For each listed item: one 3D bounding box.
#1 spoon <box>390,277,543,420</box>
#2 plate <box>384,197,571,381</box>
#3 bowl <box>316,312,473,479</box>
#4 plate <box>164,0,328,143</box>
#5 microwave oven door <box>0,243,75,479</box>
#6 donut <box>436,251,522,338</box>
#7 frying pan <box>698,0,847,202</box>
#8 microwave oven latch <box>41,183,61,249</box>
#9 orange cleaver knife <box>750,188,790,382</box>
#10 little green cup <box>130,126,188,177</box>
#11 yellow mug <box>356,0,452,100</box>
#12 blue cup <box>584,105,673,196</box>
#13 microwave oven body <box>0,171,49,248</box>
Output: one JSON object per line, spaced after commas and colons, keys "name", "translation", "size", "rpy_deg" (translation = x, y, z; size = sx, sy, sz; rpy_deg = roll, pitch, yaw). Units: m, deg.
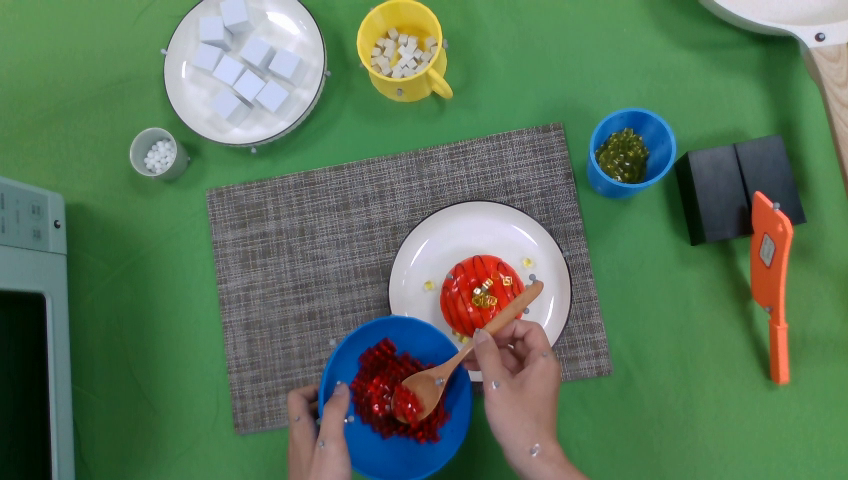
{"name": "spoon", "translation": [0.040, 0.102, 0.569], "size": [0.194, 0.022, 0.041], "rpy_deg": [-45, 69, 17]}
{"name": "plate", "translation": [0.060, 0.055, 0.695], "size": [0.209, 0.038, 0.208], "rpy_deg": [-1, 84, 6]}
{"name": "bowl", "translation": [-0.038, 0.150, 0.589], "size": [0.152, 0.077, 0.150], "rpy_deg": [7, 73, -22]}
{"name": "plate", "translation": [-0.219, -0.220, 0.761], "size": [0.207, 0.039, 0.207], "rpy_deg": [-1, 84, 6]}
{"name": "microwave oven door", "translation": [-0.457, 0.176, 0.621], "size": [0.039, 0.244, 0.354], "rpy_deg": [-7, 83, 6]}
{"name": "donut", "translation": [0.063, 0.062, 0.683], "size": [0.099, 0.048, 0.099], "rpy_deg": [0, 87, 7]}
{"name": "frying pan", "translation": [0.421, -0.267, 0.662], "size": [0.306, 0.103, 0.485], "rpy_deg": [-5, 75, 7]}
{"name": "microwave oven latch", "translation": [-0.468, -0.029, 0.747], "size": [0.030, 0.029, 0.079], "rpy_deg": [-4, 84, 5]}
{"name": "orange cleaver knife", "translation": [0.365, 0.050, 0.644], "size": [0.012, 0.076, 0.213], "rpy_deg": [-11, 111, 5]}
{"name": "little green cup", "translation": [-0.329, -0.108, 0.758], "size": [0.061, 0.039, 0.061], "rpy_deg": [-1, 84, 6]}
{"name": "yellow mug", "translation": [-0.015, -0.217, 0.724], "size": [0.130, 0.064, 0.100], "rpy_deg": [43, 89, 8]}
{"name": "blue cup", "translation": [0.215, -0.089, 0.666], "size": [0.092, 0.100, 0.092], "rpy_deg": [-1, 82, 5]}
{"name": "microwave oven body", "translation": [-0.606, 0.152, 0.645], "size": [0.326, 0.261, 0.440], "rpy_deg": [-7, 83, 5]}
